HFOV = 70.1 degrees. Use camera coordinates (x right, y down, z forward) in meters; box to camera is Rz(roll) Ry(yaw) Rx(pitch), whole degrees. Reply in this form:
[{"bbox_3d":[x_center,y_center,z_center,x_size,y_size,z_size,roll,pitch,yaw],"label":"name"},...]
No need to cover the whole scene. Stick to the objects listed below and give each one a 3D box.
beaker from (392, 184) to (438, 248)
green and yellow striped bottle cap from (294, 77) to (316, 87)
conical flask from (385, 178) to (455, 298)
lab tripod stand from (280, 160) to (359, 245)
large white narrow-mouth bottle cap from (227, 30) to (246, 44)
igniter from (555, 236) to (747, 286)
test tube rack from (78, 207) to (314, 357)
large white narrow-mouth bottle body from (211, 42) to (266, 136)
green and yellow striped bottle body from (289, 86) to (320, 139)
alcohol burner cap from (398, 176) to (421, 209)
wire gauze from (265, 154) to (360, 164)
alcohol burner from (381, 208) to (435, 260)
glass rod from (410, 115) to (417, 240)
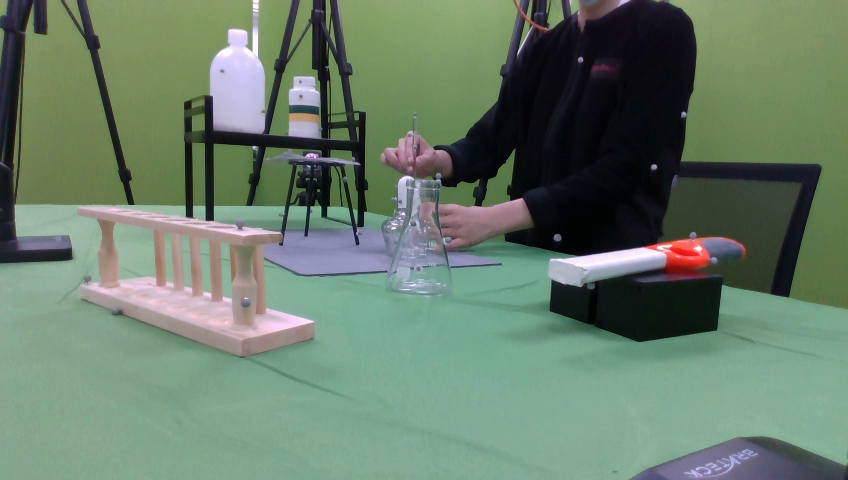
[{"bbox_3d":[-0.013,-0.040,0.993,0.074,0.100,0.083,-5,11,-42],"label":"beaker"},{"bbox_3d":[-0.247,-0.326,1.251,0.045,0.020,0.045,0,10,0],"label":"green and yellow striped bottle cap"},{"bbox_3d":[-0.002,-0.004,0.639,0.075,0.122,0.075,2,7,0],"label":"conical flask"},{"bbox_3d":[-0.176,-0.062,0.973,0.148,0.131,0.148,1,7,0],"label":"lab tripod stand"},{"bbox_3d":[-0.361,-0.389,1.166,0.038,0.024,0.037,1,7,0],"label":"large white narrow-mouth bottle cap"},{"bbox_3d":[0.221,0.017,0.558,0.278,0.025,0.057,-5,15,-39],"label":"igniter"},{"bbox_3d":[-0.196,0.023,0.500,0.241,0.085,0.067,8,8,37],"label":"test tube rack"},{"bbox_3d":[-0.361,-0.302,1.176,0.102,0.194,0.102,1,7,0],"label":"large white narrow-mouth bottle body"},{"bbox_3d":[-0.249,-0.272,1.259,0.063,0.119,0.063,2,8,0],"label":"green and yellow striped bottle body"},{"bbox_3d":[-0.023,-0.068,0.866,0.034,0.048,0.034,-5,8,1],"label":"alcohol burner cap"},{"bbox_3d":[-0.181,-0.129,0.969,0.126,0.011,0.121,-1,7,-27],"label":"wire gauze"},{"bbox_3d":[-0.023,-0.032,0.871,0.078,0.119,0.078,0,6,0],"label":"alcohol burner"},{"bbox_3d":[-0.017,-0.098,0.965,0.008,0.199,0.008,1,7,0],"label":"glass rod"}]
